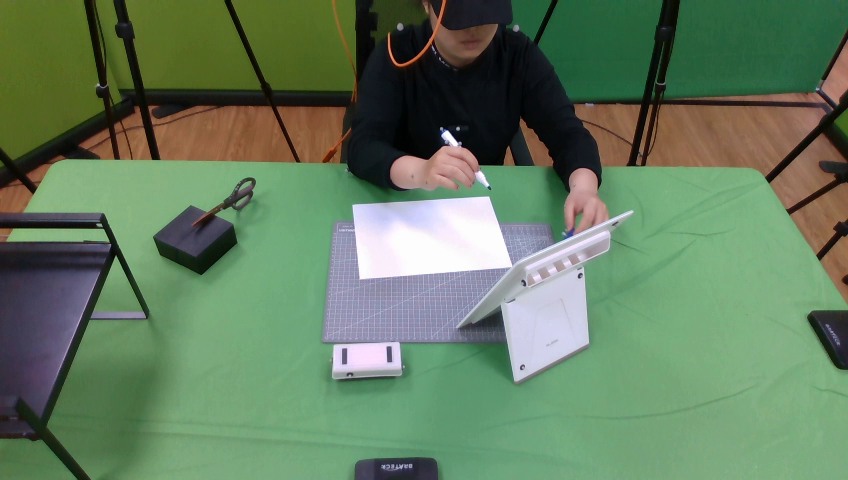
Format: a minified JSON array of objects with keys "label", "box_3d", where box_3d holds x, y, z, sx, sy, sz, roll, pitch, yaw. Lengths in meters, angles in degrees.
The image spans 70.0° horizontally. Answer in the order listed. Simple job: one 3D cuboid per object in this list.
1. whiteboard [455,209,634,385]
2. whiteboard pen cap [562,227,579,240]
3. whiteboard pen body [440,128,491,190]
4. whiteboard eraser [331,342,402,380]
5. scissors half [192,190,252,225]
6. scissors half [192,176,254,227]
[{"label":"whiteboard","box_3d":[0.211,0.111,0.955,0.217,0.306,0.143,-21,72,-23]},{"label":"whiteboard pen cap","box_3d":[0.274,-0.007,1.135,0.018,0.018,0.033,41,92,30]},{"label":"whiteboard pen body","box_3d":[0.075,-0.143,1.081,0.017,0.017,0.140,-33,80,-30]},{"label":"whiteboard eraser","box_3d":[-0.094,0.198,0.986,0.113,0.042,0.055,-2,44,-6]},{"label":"scissors half","box_3d":[-0.394,-0.060,1.187,0.013,0.040,0.175,25,29,12]},{"label":"scissors half","box_3d":[-0.388,-0.075,1.174,0.013,0.040,0.174,29,47,8]}]
